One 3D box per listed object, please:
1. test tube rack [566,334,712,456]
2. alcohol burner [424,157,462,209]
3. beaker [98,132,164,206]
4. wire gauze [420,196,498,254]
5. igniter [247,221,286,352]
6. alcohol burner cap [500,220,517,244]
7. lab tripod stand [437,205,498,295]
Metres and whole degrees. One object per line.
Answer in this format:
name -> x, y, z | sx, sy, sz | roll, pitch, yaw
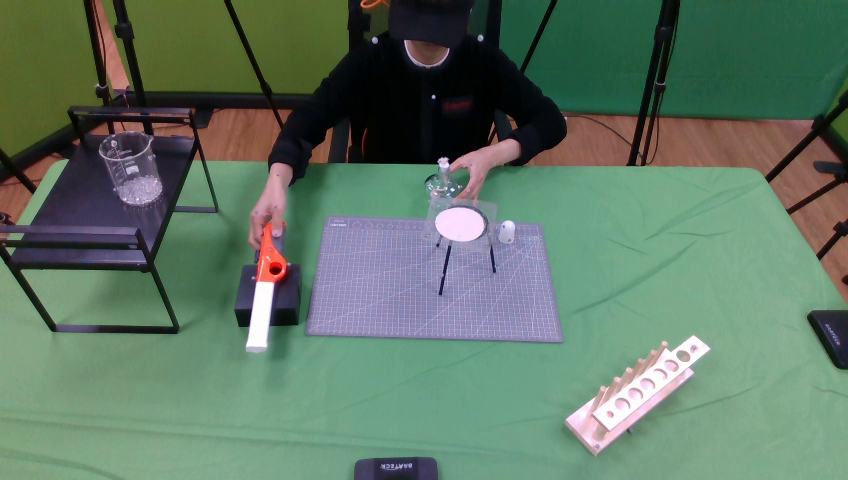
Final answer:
test tube rack -> 0.339, 0.228, 0.951 | 0.242, 0.085, 0.066 | -26, 52, -26
alcohol burner -> 0.041, -0.123, 1.253 | 0.078, 0.119, 0.077 | 3, 45, -3
beaker -> -0.460, -0.112, 0.968 | 0.073, 0.101, 0.084 | 37, 54, 28
wire gauze -> 0.062, -0.032, 1.054 | 0.125, 0.011, 0.121 | 9, 46, 8
igniter -> -0.270, 0.068, 1.040 | 0.057, 0.025, 0.274 | 6, 48, -11
alcohol burner cap -> 0.170, -0.018, 1.205 | 0.034, 0.048, 0.033 | 1, 46, 0
lab tripod stand -> 0.066, 0.010, 1.107 | 0.148, 0.132, 0.147 | 0, 46, 0
